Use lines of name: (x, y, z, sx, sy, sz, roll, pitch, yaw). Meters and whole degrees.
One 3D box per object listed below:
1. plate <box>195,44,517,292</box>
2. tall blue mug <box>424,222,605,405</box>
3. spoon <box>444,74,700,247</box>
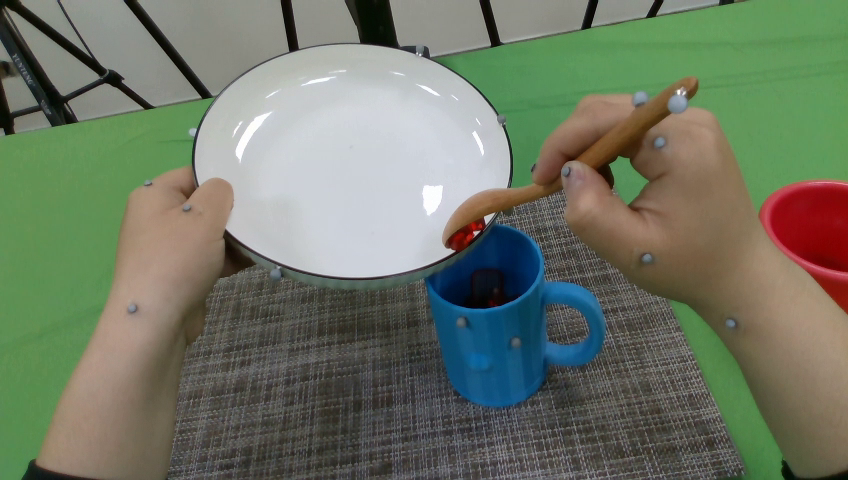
plate: (-0.043, -0.051, 0.411, 0.208, 0.039, 0.205, 3, 56, -4)
tall blue mug: (0.060, 0.049, 0.415, 0.107, 0.109, 0.077, -14, 43, -1)
spoon: (0.057, -0.029, 0.289, 0.041, 0.193, 0.021, -37, 95, -27)
